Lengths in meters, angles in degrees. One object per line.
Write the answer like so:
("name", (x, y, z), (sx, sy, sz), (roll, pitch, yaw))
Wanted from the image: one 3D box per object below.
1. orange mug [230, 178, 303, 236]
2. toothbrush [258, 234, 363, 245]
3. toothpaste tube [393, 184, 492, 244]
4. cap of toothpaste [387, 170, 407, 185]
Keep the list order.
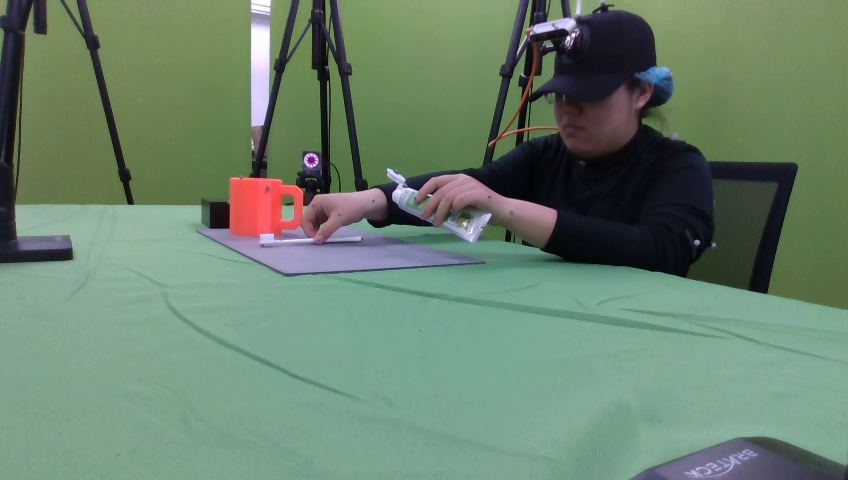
("orange mug", (-0.275, -0.060, 1.058), (0.126, 0.101, 0.083), (-2, 8, -5))
("toothbrush", (-0.175, -0.002, 0.958), (0.183, 0.016, 0.014), (-1, -5, -39))
("toothpaste tube", (0.020, -0.046, 0.908), (0.164, 0.055, 0.034), (25, -11, 27))
("cap of toothpaste", (-0.044, -0.097, 0.946), (0.037, 0.011, 0.037), (30, 17, -10))
